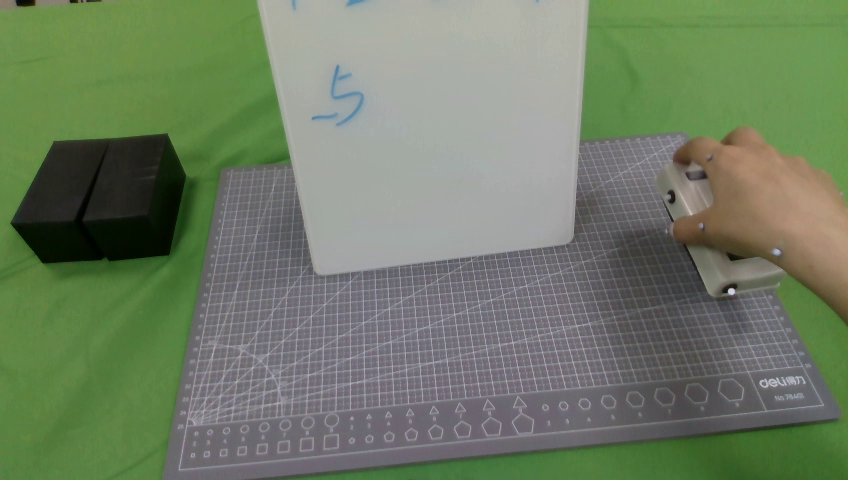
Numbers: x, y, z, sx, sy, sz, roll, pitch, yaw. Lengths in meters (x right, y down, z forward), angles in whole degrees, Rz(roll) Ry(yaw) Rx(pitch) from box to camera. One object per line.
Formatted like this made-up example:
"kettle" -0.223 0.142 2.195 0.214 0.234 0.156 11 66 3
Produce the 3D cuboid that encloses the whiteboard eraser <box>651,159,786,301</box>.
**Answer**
"whiteboard eraser" 0.219 -0.008 0.459 0.056 0.042 0.111 -7 57 -10

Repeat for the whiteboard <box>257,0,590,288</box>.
"whiteboard" 0.000 -0.139 0.477 0.217 0.308 0.142 -7 30 -3
